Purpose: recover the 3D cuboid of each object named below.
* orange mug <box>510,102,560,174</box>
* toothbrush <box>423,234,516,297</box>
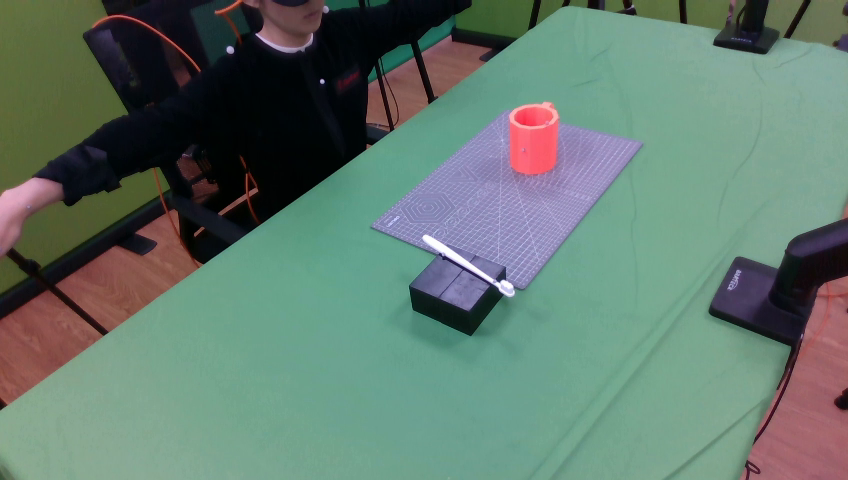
[{"bbox_3d":[0.210,-0.195,1.108,0.083,0.101,0.126,16,50,26],"label":"orange mug"},{"bbox_3d":[0.060,0.031,0.859,0.014,0.017,0.180,-36,48,-25],"label":"toothbrush"}]
